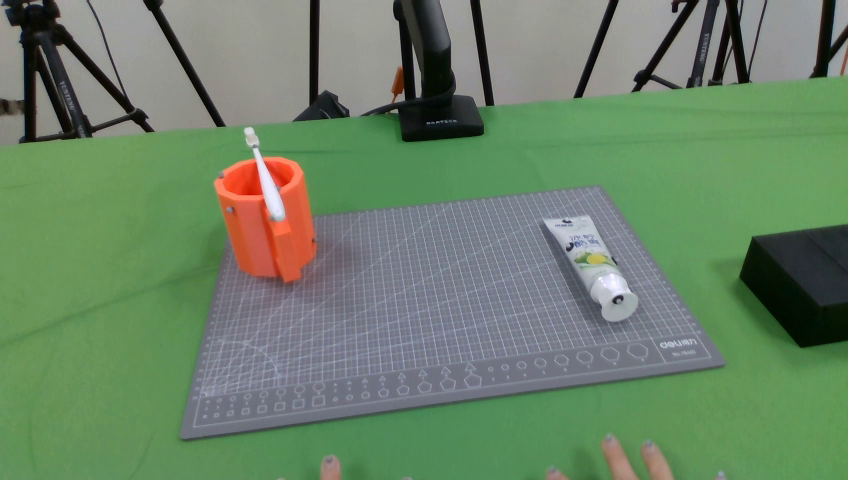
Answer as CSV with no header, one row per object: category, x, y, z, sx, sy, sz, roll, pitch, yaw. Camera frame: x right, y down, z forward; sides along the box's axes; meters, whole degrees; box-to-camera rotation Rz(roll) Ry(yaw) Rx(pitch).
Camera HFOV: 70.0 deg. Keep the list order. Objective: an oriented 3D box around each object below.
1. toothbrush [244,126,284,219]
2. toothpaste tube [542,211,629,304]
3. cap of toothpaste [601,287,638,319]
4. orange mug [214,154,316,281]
toothbrush,-0.161,-0.071,0.601,0.014,0.017,0.179,-12,38,-18
toothpaste tube,0.169,0.013,0.615,0.055,0.035,0.163,-1,33,-7
cap of toothpaste,0.175,0.055,0.547,0.037,0.037,0.011,-11,38,-10
orange mug,-0.156,-0.019,0.618,0.083,0.101,0.125,-18,35,-19
